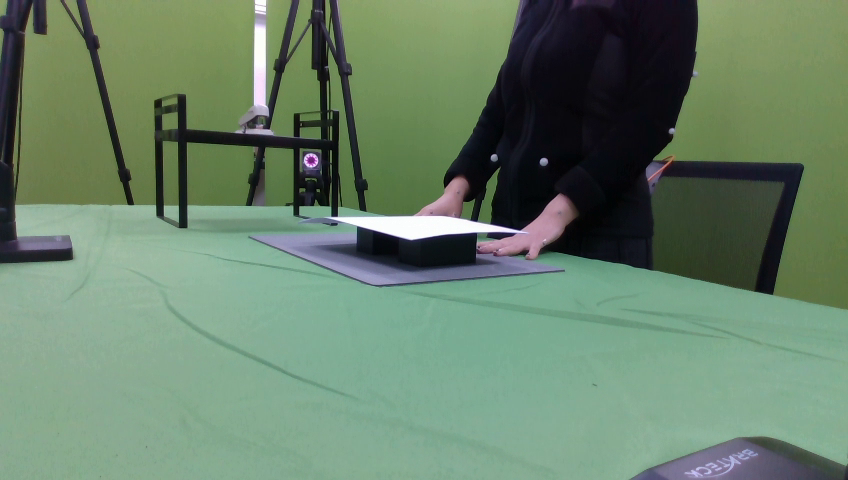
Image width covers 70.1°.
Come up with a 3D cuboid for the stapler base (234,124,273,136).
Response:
[{"bbox_3d":[-0.344,-0.224,1.222,0.041,0.024,0.130,1,6,-35],"label":"stapler base"}]

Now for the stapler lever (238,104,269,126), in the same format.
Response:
[{"bbox_3d":[-0.344,-0.249,1.220,0.027,0.040,0.117,1,5,-35],"label":"stapler lever"}]
